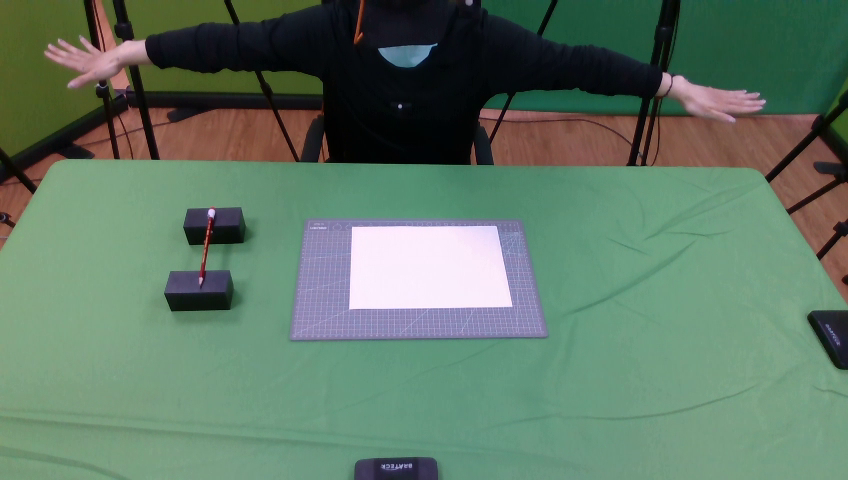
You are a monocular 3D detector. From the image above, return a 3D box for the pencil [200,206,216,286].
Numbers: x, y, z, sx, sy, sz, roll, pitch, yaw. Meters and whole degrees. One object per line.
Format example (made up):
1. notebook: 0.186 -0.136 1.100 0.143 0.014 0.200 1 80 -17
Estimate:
1. pencil: -0.393 0.007 1.098 0.012 0.012 0.192 -3 48 -7
